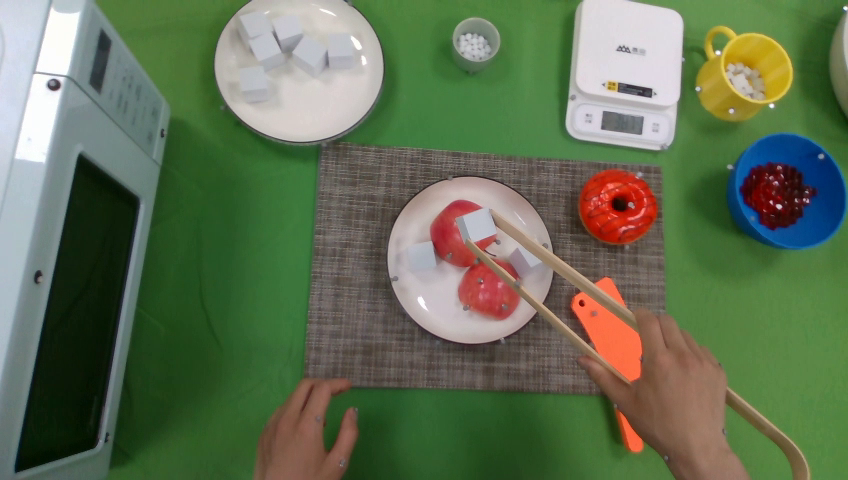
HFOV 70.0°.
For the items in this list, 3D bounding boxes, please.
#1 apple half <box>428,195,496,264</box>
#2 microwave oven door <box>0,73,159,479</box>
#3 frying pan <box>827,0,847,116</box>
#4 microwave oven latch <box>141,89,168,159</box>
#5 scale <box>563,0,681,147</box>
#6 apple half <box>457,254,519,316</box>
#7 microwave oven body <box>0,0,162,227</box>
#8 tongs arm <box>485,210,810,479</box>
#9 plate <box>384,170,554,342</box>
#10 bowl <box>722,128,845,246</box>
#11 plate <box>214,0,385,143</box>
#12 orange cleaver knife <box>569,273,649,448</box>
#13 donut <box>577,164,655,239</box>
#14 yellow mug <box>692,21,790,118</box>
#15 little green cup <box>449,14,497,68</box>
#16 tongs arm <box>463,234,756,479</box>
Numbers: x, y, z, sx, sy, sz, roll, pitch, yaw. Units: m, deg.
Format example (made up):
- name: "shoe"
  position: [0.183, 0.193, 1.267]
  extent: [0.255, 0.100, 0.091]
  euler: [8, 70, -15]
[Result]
- name: "apple half"
  position: [0.047, -0.017, 0.732]
  extent: [0.081, 0.053, 0.074]
  euler: [-41, 83, -12]
- name: "microwave oven door"
  position: [-0.332, 0.057, 0.573]
  extent: [0.039, 0.244, 0.354]
  euler: [5, 79, -5]
- name: "frying pan"
  position: [0.739, -0.156, 0.820]
  extent: [0.307, 0.103, 0.485]
  euler: [-23, 75, -9]
- name: "microwave oven latch"
  position: [-0.322, -0.138, 0.712]
  extent: [0.030, 0.029, 0.079]
  euler: [7, 80, -5]
- name: "scale"
  position: [0.268, -0.231, 0.817]
  extent: [0.149, 0.031, 0.200]
  euler: [8, 80, -4]
- name: "apple half"
  position: [0.080, 0.051, 0.732]
  extent: [0.081, 0.033, 0.081]
  euler: [0, 82, -3]
- name: "microwave oven body"
  position: [-0.474, 0.002, 0.572]
  extent: [0.326, 0.260, 0.440]
  euler: [6, 80, -6]
- name: "tongs arm"
  position: [0.209, 0.092, 0.605]
  extent: [0.385, 0.028, 0.028]
  euler: [40, 68, 15]
- name: "plate"
  position: [0.054, 0.020, 0.742]
  extent: [0.209, 0.038, 0.208]
  euler: [1, 80, -6]
- name: "bowl"
  position: [0.446, -0.060, 0.784]
  extent: [0.151, 0.077, 0.151]
  euler: [1, 80, -6]
- name: "plate"
  position: [-0.154, -0.219, 0.764]
  extent: [0.208, 0.039, 0.207]
  euler: [1, 80, -6]
- name: "orange cleaver knife"
  position: [0.241, 0.146, 0.750]
  extent: [0.077, 0.012, 0.210]
  euler: [-14, 80, -15]
- name: "donut"
  position: [0.243, -0.049, 0.772]
  extent: [0.099, 0.048, 0.098]
  euler: [1, 80, -4]
- name: "yellow mug"
  position: [0.418, -0.237, 0.817]
  extent: [0.100, 0.064, 0.130]
  euler: [-29, 83, -10]
- name: "little green cup"
  position: [0.062, -0.259, 0.795]
  extent: [0.061, 0.039, 0.061]
  euler: [1, 79, -6]
- name: "tongs arm"
  position: [0.192, 0.110, 0.597]
  extent: [0.050, 0.027, 0.382]
  euler: [-42, 73, -17]
